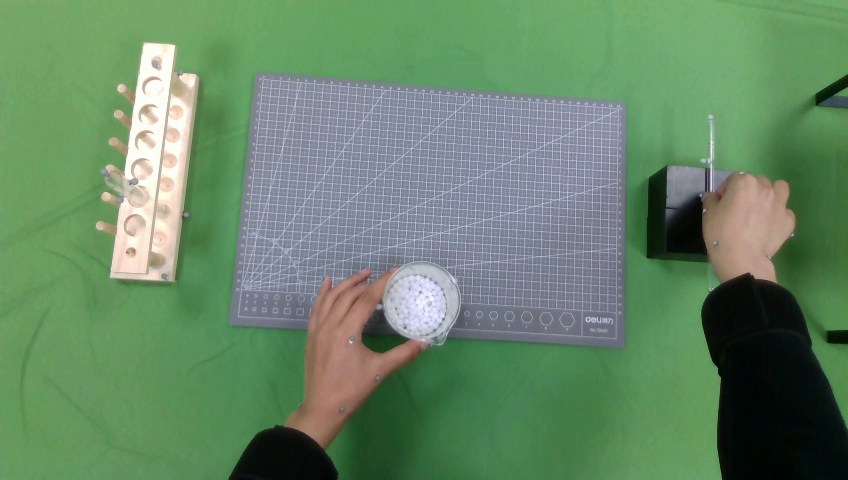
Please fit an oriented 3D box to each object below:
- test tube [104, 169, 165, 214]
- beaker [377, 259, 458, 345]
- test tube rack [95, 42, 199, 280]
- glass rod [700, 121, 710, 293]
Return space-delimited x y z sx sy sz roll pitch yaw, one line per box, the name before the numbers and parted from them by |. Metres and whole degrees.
test tube | -0.283 -0.045 0.600 0.017 0.150 0.017 1 82 -9
beaker | -0.008 0.066 0.608 0.074 0.100 0.084 -24 84 -9
test tube rack | -0.303 -0.082 0.655 0.067 0.085 0.241 4 81 -3
glass rod | 0.317 -0.039 0.683 0.008 0.008 0.199 6 81 -3
